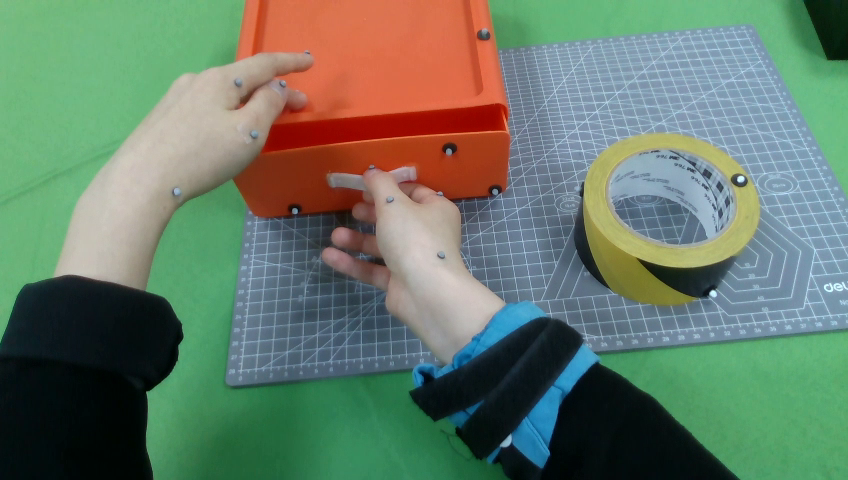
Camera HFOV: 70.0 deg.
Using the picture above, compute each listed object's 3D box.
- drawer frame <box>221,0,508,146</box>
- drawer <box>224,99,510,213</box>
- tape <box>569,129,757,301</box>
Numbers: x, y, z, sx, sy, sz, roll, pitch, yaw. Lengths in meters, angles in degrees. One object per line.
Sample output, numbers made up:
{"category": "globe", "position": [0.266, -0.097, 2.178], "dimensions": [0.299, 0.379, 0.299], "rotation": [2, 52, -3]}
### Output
{"category": "drawer frame", "position": [-0.046, -0.153, 0.497], "dimensions": [0.202, 0.083, 0.211], "rotation": [-6, 57, 1]}
{"category": "drawer", "position": [-0.043, -0.130, 0.483], "dimensions": [0.194, 0.074, 0.209], "rotation": [-6, 58, 2]}
{"category": "tape", "position": [0.162, -0.018, 0.415], "dimensions": [0.117, 0.053, 0.116], "rotation": [-2, 58, 4]}
